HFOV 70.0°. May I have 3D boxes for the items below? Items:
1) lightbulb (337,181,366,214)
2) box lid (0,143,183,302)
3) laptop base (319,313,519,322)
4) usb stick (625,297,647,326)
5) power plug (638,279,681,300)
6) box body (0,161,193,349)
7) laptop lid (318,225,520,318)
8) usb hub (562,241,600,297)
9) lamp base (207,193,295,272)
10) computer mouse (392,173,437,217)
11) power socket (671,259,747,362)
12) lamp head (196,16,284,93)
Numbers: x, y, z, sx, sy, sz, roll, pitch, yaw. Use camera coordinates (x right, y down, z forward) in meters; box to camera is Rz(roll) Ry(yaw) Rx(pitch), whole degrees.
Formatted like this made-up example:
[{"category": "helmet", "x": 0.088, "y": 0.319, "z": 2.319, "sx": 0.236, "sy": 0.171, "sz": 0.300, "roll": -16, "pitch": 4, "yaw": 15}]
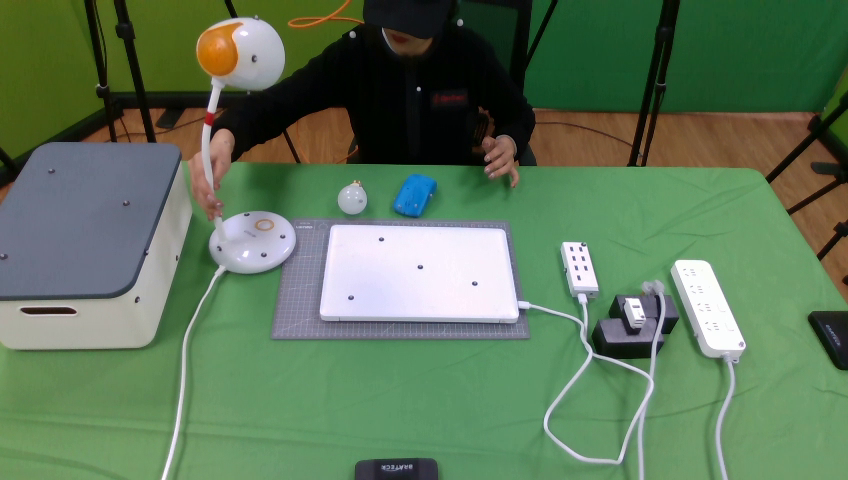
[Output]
[{"category": "lightbulb", "x": -0.146, "y": -0.094, "z": 1.261, "sx": 0.059, "sy": 0.060, "sz": 0.107, "roll": 4, "pitch": 30, "yaw": 0}, {"category": "box lid", "x": -0.567, "y": -0.045, "z": 0.999, "sx": 0.263, "sy": 0.015, "sz": 0.369, "roll": -1, "pitch": 45, "yaw": -4}, {"category": "laptop base", "x": -0.009, "y": 0.063, "z": 1.137, "sx": 0.354, "sy": 0.023, "sz": 0.234, "roll": 1, "pitch": 42, "yaw": -3}, {"category": "usb stick", "x": 0.360, "y": 0.116, "z": 1.034, "sx": 0.021, "sy": 0.027, "sz": 0.059, "roll": -2, "pitch": 44, "yaw": -2}, {"category": "power plug", "x": 0.434, "y": 0.099, "z": 1.119, "sx": 0.073, "sy": 0.053, "sz": 0.035, "roll": 34, "pitch": 38, "yaw": -15}, {"category": "box body", "x": -0.570, "y": 0.006, "z": 1.054, "sx": 0.254, "sy": 0.161, "sz": 0.361, "roll": -1, "pitch": 46, "yaw": -4}, {"category": "laptop lid", "x": -0.009, "y": 0.052, "z": 1.130, "sx": 0.357, "sy": 0.013, "sz": 0.240, "roll": 2, "pitch": 43, "yaw": -2}, {"category": "usb hub", "x": 0.300, "y": 0.055, "z": 1.162, "sx": 0.049, "sy": 0.025, "sz": 0.124, "roll": 3, "pitch": 46, "yaw": -3}, {"category": "lamp base", "x": -0.330, "y": -0.045, "z": 1.104, "sx": 0.160, "sy": 0.181, "sz": 0.178, "roll": 19, "pitch": 50, "yaw": 15}, {"category": "computer mouse", "x": -0.018, "y": -0.098, "z": 1.282, "sx": 0.062, "sy": 0.041, "sz": 0.117, "roll": 20, "pitch": 51, "yaw": 13}, {"category": "power socket", "x": 0.516, "y": 0.119, "z": 1.108, "sx": 0.072, "sy": 0.033, "sz": 0.225, "roll": 1, "pitch": 46, "yaw": -2}, {"category": "lamp head", "x": -0.290, "y": -0.282, "z": 0.923, "sx": 0.112, "sy": 0.113, "sz": 0.122, "roll": 14, "pitch": 23, "yaw": 10}]
